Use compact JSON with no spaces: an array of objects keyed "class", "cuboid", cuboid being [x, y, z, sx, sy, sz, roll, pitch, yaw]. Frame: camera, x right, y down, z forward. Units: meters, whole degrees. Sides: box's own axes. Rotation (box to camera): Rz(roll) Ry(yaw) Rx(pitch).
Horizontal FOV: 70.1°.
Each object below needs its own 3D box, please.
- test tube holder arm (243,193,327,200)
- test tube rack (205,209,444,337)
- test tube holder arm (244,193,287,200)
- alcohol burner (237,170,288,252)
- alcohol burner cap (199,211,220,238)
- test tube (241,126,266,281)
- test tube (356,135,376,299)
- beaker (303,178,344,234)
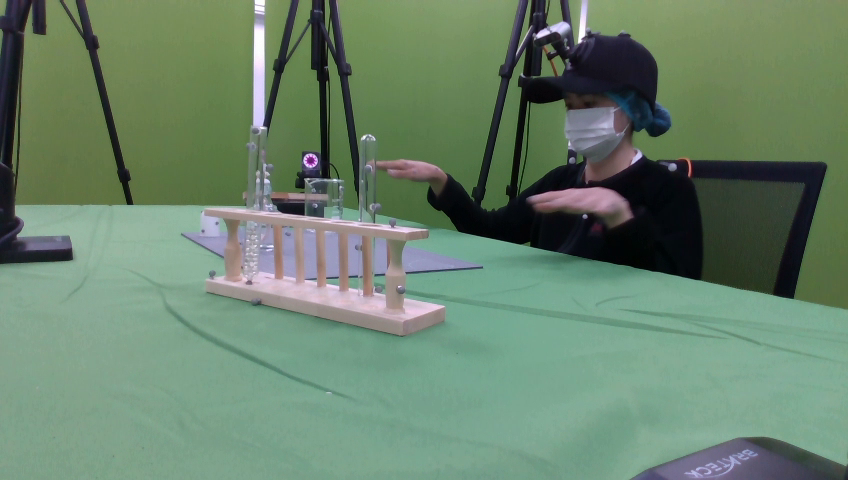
[{"class":"test tube holder arm","cuboid":[-0.287,-0.090,1.262,0.179,0.015,0.013,-3,3,-33]},{"class":"test tube rack","cuboid":[-0.100,0.021,0.565,0.241,0.085,0.067,7,9,32]},{"class":"test tube holder arm","cuboid":[-0.322,-0.089,1.232,0.088,0.015,0.010,-2,3,-32]},{"class":"alcohol burner","cuboid":[-0.236,-0.042,0.882,0.078,0.119,0.078,2,9,0]},{"class":"alcohol burner cap","cuboid":[-0.356,-0.027,1.002,0.034,0.048,0.034,2,7,0]},{"class":"test tube","cuboid":[-0.164,-0.034,0.582,0.017,0.150,0.017,6,9,-1]},{"class":"test tube","cuboid":[-0.053,-0.019,0.550,0.017,0.150,0.017,2,9,0]},{"class":"beaker","cuboid":[-0.189,-0.063,1.119,0.073,0.100,0.084,6,9,28]}]
